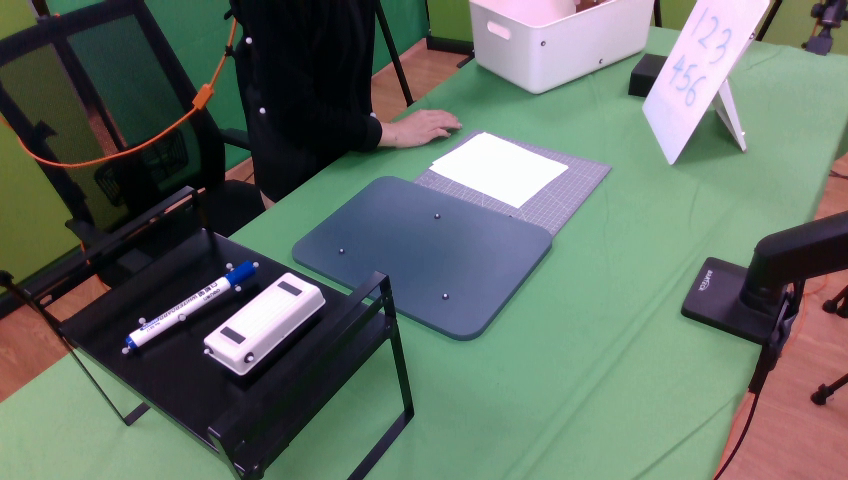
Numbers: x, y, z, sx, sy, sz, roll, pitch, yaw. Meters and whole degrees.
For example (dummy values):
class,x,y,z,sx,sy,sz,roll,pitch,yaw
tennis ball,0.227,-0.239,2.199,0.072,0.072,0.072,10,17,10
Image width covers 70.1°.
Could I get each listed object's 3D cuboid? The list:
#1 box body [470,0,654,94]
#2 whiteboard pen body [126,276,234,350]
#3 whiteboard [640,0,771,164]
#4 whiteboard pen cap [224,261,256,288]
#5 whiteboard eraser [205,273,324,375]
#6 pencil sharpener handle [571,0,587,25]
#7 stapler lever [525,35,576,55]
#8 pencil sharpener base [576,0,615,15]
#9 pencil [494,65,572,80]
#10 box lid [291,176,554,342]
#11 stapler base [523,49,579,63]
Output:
class,x,y,z,sx,sy,sz,roll,pitch,yaw
box body,0.319,-0.498,1.405,0.365,0.161,0.252,-26,43,-21
whiteboard pen body,-0.251,0.070,0.649,0.141,0.017,0.017,-36,48,-26
whiteboard,0.543,-0.299,1.076,0.144,0.305,0.216,12,40,-7
whiteboard pen cap,-0.207,0.039,0.677,0.033,0.018,0.018,-36,47,-18
whiteboard eraser,-0.157,0.084,0.605,0.055,0.042,0.113,24,49,30
pencil sharpener handle,0.378,-0.568,1.493,0.036,0.068,0.030,-31,45,-26
stapler lever,0.296,-0.457,1.418,0.117,0.040,0.027,4,37,17
pencil sharpener base,0.411,-0.536,1.469,0.061,0.107,0.076,-31,45,-26
pencil,0.249,-0.390,1.398,0.192,0.012,0.012,18,46,27
box lid,-0.005,0.011,0.972,0.368,0.015,0.264,21,49,30
stapler base,0.301,-0.437,1.434,0.130,0.024,0.041,4,37,16
